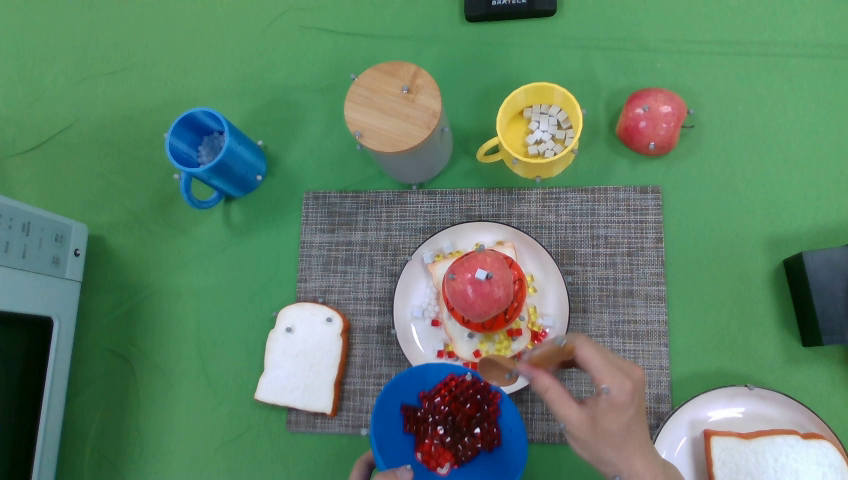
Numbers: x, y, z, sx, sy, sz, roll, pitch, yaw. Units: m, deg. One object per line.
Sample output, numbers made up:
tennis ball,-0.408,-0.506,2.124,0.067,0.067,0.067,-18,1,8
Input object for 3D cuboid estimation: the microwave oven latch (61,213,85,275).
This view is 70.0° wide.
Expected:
microwave oven latch,-0.470,0.006,0.797,0.030,0.029,0.079,4,80,10

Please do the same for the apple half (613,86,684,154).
apple half,0.269,-0.149,0.721,0.074,0.053,0.080,22,83,15

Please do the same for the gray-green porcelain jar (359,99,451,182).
gray-green porcelain jar,-0.024,-0.133,0.727,0.106,0.127,0.105,-2,78,9

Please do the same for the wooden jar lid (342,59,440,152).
wooden jar lid,-0.035,-0.146,0.666,0.108,0.021,0.108,-2,77,7

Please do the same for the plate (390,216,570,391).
plate,0.065,0.076,0.714,0.207,0.039,0.206,-2,79,9

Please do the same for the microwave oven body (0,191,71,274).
microwave oven body,-0.638,0.160,0.695,0.325,0.261,0.440,0,80,9

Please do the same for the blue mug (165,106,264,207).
blue mug,-0.269,-0.096,0.769,0.082,0.106,0.116,21,83,13

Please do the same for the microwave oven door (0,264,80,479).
microwave oven door,-0.496,0.200,0.659,0.039,0.245,0.354,0,79,10

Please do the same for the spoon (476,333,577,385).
spoon,0.086,0.104,0.522,0.041,0.194,0.021,39,70,2

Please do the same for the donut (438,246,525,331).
donut,0.065,0.055,0.689,0.099,0.048,0.098,-2,79,10

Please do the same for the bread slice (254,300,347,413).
bread slice,-0.150,0.139,0.748,0.104,0.019,0.131,7,82,9

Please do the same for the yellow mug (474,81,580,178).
yellow mug,0.122,-0.127,0.734,0.131,0.064,0.099,-22,76,5

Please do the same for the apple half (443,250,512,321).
apple half,0.057,0.047,0.654,0.081,0.033,0.081,-4,74,15

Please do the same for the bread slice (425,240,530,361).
bread slice,0.070,0.074,0.713,0.107,0.018,0.133,-17,78,6

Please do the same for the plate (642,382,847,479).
plate,0.336,0.255,0.639,0.209,0.038,0.208,-2,78,9

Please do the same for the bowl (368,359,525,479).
bowl,0.015,0.199,0.587,0.152,0.077,0.150,9,42,-8
